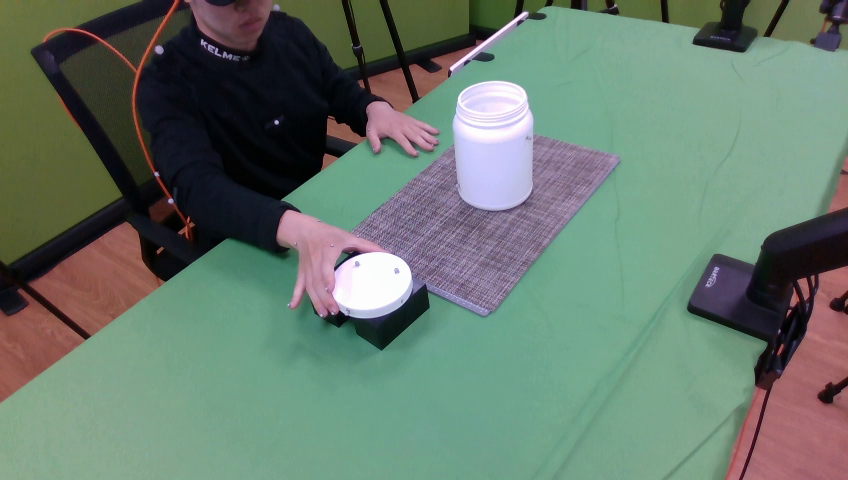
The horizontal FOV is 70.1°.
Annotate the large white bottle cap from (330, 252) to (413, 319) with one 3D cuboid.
[{"bbox_3d":[-0.072,0.061,0.834,0.115,0.018,0.114,-4,40,4],"label":"large white bottle cap"}]

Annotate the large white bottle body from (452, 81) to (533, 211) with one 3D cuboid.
[{"bbox_3d":[0.115,-0.156,1.002,0.130,0.185,0.130,-5,41,4],"label":"large white bottle body"}]
